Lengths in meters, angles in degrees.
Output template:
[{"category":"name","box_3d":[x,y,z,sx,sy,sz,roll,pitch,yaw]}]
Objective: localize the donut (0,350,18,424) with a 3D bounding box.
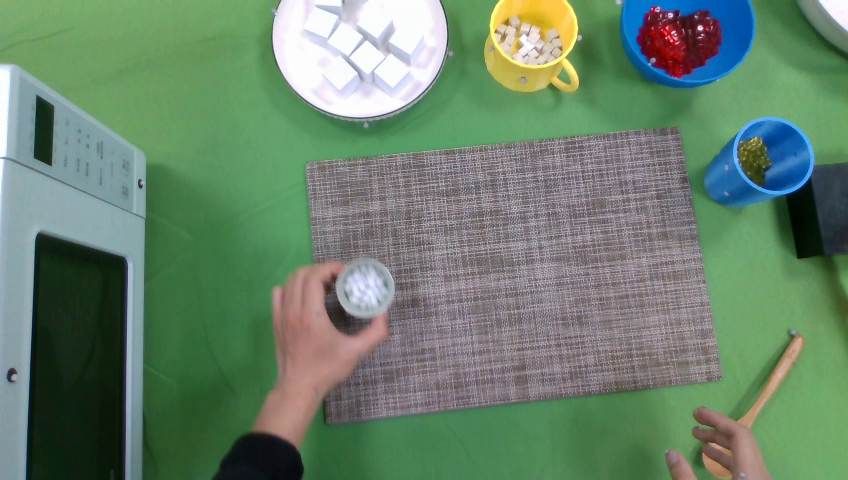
[{"category":"donut","box_3d":[-0.448,0.146,0.588,0.099,0.048,0.099,0,83,-3]}]

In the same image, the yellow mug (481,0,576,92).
[{"category":"yellow mug","box_3d":[0.131,-0.225,0.712,0.100,0.064,0.130,-43,85,-6]}]

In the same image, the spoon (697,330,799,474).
[{"category":"spoon","box_3d":[0.370,0.179,0.680,0.041,0.022,0.193,37,83,17]}]

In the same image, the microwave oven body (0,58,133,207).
[{"category":"microwave oven body","box_3d":[-0.473,0.095,0.555,0.326,0.261,0.440,-3,82,-2]}]

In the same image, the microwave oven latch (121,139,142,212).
[{"category":"microwave oven latch","box_3d":[-0.334,-0.072,0.678,0.030,0.029,0.079,-1,83,-1]}]

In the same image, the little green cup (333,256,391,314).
[{"category":"little green cup","box_3d":[-0.066,0.047,0.648,0.061,0.038,0.061,0,91,-7]}]

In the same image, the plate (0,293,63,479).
[{"category":"plate","box_3d":[-0.459,0.150,0.600,0.209,0.038,0.208,0,83,-2]}]

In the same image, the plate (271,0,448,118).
[{"category":"plate","box_3d":[-0.075,-0.243,0.725,0.208,0.039,0.207,0,82,-1]}]

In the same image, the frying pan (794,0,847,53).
[{"category":"frying pan","box_3d":[0.575,-0.242,0.701,0.307,0.103,0.485,-1,74,0]}]

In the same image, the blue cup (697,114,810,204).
[{"category":"blue cup","box_3d":[0.357,-0.081,0.677,0.093,0.100,0.092,0,80,-2]}]

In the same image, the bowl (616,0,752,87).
[{"category":"bowl","box_3d":[0.291,-0.241,0.711,0.151,0.077,0.151,0,82,-1]}]

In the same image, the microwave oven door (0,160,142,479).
[{"category":"microwave oven door","box_3d":[-0.325,0.130,0.547,0.039,0.244,0.354,-3,82,-1]}]
